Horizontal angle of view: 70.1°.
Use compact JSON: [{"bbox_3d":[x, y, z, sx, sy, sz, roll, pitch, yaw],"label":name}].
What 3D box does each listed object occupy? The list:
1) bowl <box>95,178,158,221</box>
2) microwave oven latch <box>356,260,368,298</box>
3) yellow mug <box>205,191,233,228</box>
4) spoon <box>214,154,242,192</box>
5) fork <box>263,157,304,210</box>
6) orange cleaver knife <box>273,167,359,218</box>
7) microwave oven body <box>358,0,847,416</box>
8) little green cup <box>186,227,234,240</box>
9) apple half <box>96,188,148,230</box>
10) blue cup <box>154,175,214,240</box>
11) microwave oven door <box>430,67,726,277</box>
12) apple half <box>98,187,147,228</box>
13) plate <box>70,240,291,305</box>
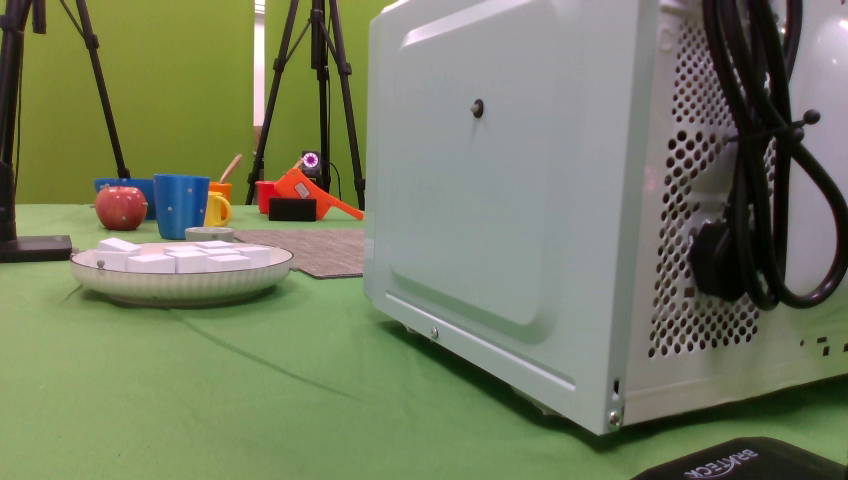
[{"bbox_3d":[-0.576,-0.081,1.217,0.151,0.077,0.151,3,8,0],"label":"bowl"},{"bbox_3d":[-0.020,0.033,0.530,0.079,0.029,0.030,0,7,-26],"label":"microwave oven latch"},{"bbox_3d":[-0.415,-0.057,1.131,0.130,0.064,0.100,6,8,16],"label":"yellow mug"},{"bbox_3d":[-0.439,-0.124,1.318,0.041,0.193,0.022,5,-36,16],"label":"spoon"},{"bbox_3d":[-0.345,-0.143,1.506,0.028,0.019,0.207,-3,46,28],"label":"fork"},{"bbox_3d":[-0.238,-0.090,1.381,0.212,0.077,0.012,31,0,-19],"label":"orange cleaver knife"},{"bbox_3d":[0.211,-0.047,0.475,0.444,0.260,0.324,-1,7,-28],"label":"microwave oven body"},{"bbox_3d":[-0.285,0.005,0.805,0.061,0.038,0.061,2,8,0],"label":"little green cup"},{"bbox_3d":[-0.517,-0.052,1.036,0.081,0.074,0.053,2,10,-26],"label":"apple half"},{"bbox_3d":[-0.390,-0.053,0.978,0.093,0.100,0.092,3,6,0],"label":"blue cup"},{"bbox_3d":[0.179,-0.092,0.773,0.354,0.243,0.039,6,8,25],"label":"microwave oven door"},{"bbox_3d":[-0.534,-0.059,1.071,0.082,0.081,0.032,-1,11,-25],"label":"apple half"},{"bbox_3d":[-0.242,0.031,0.618,0.208,0.039,0.207,2,8,0],"label":"plate"}]
